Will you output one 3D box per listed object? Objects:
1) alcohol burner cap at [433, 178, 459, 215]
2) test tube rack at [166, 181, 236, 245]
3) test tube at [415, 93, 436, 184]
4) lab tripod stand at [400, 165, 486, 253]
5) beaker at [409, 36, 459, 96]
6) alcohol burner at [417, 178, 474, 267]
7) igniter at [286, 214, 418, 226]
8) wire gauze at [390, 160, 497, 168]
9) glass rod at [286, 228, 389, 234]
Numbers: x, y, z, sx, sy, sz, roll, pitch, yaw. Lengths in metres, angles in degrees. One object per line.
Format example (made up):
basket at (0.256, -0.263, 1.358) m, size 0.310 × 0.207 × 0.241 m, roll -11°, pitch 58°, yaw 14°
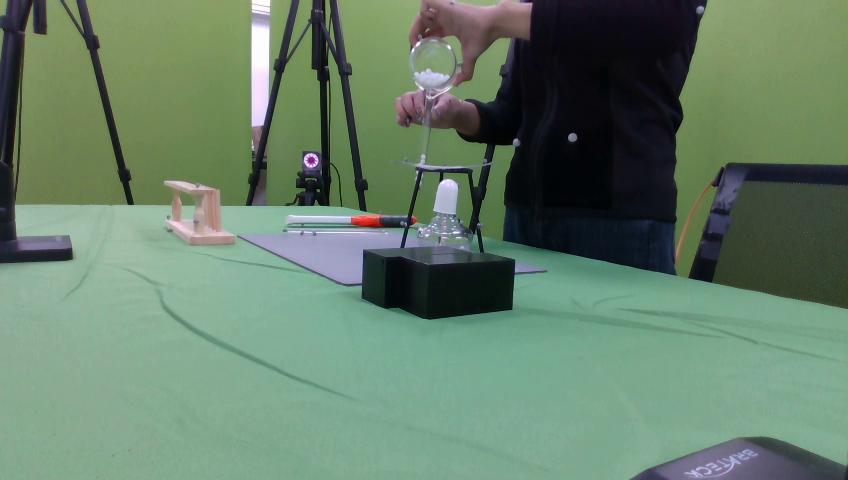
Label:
alcohol burner cap at (0.031, -0.059, 0.806) m, size 0.034 × 0.048 × 0.034 m, roll 9°, pitch 10°, yaw -1°
test tube rack at (-0.383, -0.051, 1.024) m, size 0.067 × 0.085 × 0.241 m, roll -2°, pitch 9°, yaw -31°
test tube at (0.001, -0.163, 0.985) m, size 0.017 × 0.150 × 0.017 m, roll 7°, pitch 20°, yaw -2°
lab tripod stand at (0.028, -0.049, 0.930) m, size 0.148 × 0.131 × 0.148 m, roll 3°, pitch 9°, yaw 0°
beaker at (0.014, -0.261, 0.907) m, size 0.074 × 0.084 × 0.100 m, roll 11°, pitch 10°, yaw 1°
alcohol burner at (0.029, -0.024, 0.810) m, size 0.078 × 0.119 × 0.078 m, roll 1°, pitch 9°, yaw 0°
igniter at (-0.145, -0.043, 1.263) m, size 0.278 × 0.025 × 0.057 m, roll -1°, pitch -2°, yaw -24°
wire gauze at (0.027, -0.115, 0.919) m, size 0.122 × 0.011 × 0.124 m, roll -4°, pitch 10°, yaw -34°
glass rod at (-0.154, -0.016, 1.101) m, size 0.201 × 0.008 × 0.008 m, roll 1°, pitch 6°, yaw -31°
